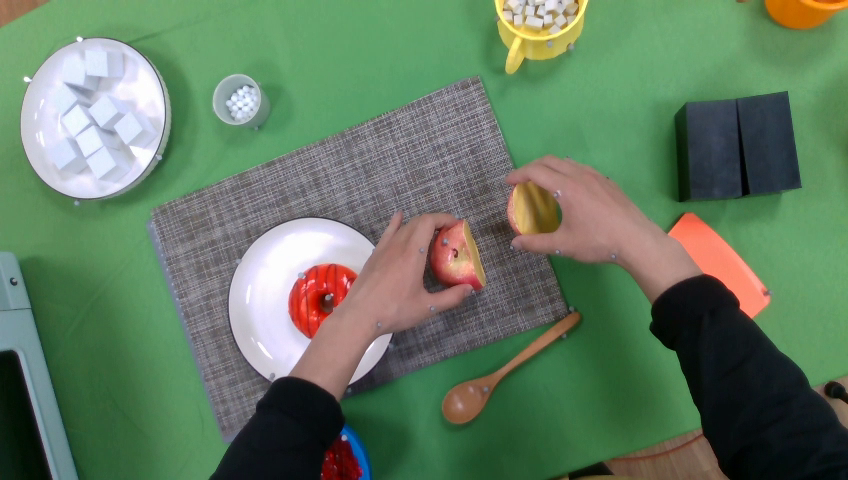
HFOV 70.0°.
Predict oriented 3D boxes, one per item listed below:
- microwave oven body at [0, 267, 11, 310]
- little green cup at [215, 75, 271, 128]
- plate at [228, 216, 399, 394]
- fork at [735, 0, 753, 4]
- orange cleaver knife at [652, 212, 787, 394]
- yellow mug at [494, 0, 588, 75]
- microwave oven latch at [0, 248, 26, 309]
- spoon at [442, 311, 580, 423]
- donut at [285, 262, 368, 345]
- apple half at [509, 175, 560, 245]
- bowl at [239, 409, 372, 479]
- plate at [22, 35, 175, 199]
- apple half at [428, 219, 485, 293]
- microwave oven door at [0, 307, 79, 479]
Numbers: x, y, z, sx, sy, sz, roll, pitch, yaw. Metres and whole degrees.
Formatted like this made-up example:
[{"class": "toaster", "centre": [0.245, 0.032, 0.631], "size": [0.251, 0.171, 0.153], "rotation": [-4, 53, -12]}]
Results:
[{"class": "microwave oven body", "centre": [-0.637, 0.260, 0.686], "size": [0.326, 0.261, 0.440], "rotation": [-19, 86, 8]}, {"class": "little green cup", "centre": [-0.220, -0.167, 0.746], "size": [0.061, 0.039, 0.061], "rotation": [0, 88, 10]}, {"class": "plate", "centre": [-0.129, 0.075, 0.720], "size": [0.209, 0.038, 0.209], "rotation": [0, 88, 10]}, {"class": "fork", "centre": [0.359, -0.250, 0.596], "size": [0.208, 0.018, 0.028], "rotation": [-23, 83, -36]}, {"class": "orange cleaver knife", "centre": [0.333, 0.066, 0.657], "size": [0.077, 0.012, 0.210], "rotation": [-36, 82, 2]}, {"class": "yellow mug", "centre": [0.123, -0.245, 0.677], "size": [0.099, 0.064, 0.131], "rotation": [27, 94, 9]}, {"class": "microwave oven latch", "centre": [-0.537, 0.049, 0.773], "size": [0.030, 0.029, 0.079], "rotation": [-17, 86, 8]}, {"class": "spoon", "centre": [0.101, 0.143, 0.692], "size": [0.194, 0.022, 0.041], "rotation": [-39, 66, 7]}, {"class": "donut", "centre": [-0.113, 0.074, 0.706], "size": [0.099, 0.048, 0.099], "rotation": [0, 90, 9]}, {"class": "apple half", "centre": [0.111, -0.031, 0.649], "size": [0.032, 0.082, 0.081], "rotation": [-15, 84, 43]}, {"class": "bowl", "centre": [-0.125, 0.263, 0.698], "size": [0.151, 0.077, 0.151], "rotation": [0, 88, 10]}, {"class": "plate", "centre": [-0.411, -0.155, 0.777], "size": [0.207, 0.039, 0.207], "rotation": [0, 88, 10]}, {"class": "apple half", "centre": [0.033, 0.022, 0.674], "size": [0.053, 0.075, 0.080], "rotation": [-19, 88, 12]}, {"class": "microwave oven door", "centre": [-0.488, 0.253, 0.656], "size": [0.039, 0.244, 0.355], "rotation": [-19, 85, 8]}]
